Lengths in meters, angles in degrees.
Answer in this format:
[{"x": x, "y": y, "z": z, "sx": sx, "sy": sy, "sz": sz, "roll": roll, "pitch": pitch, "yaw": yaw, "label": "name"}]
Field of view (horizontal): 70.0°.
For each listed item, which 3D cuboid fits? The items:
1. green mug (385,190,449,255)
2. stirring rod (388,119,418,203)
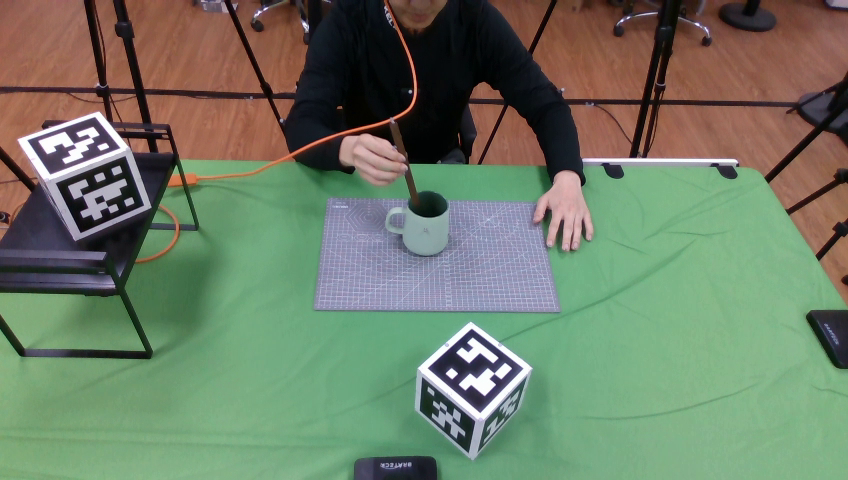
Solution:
[{"x": -0.013, "y": -0.033, "z": 1.166, "sx": 0.125, "sy": 0.105, "sz": 0.092, "roll": 2, "pitch": 46, "yaw": -2, "label": "green mug"}, {"x": -0.036, "y": -0.135, "z": 1.061, "sx": 0.014, "sy": 0.177, "sz": 0.006, "roll": -6, "pitch": 40, "yaw": 12, "label": "stirring rod"}]
